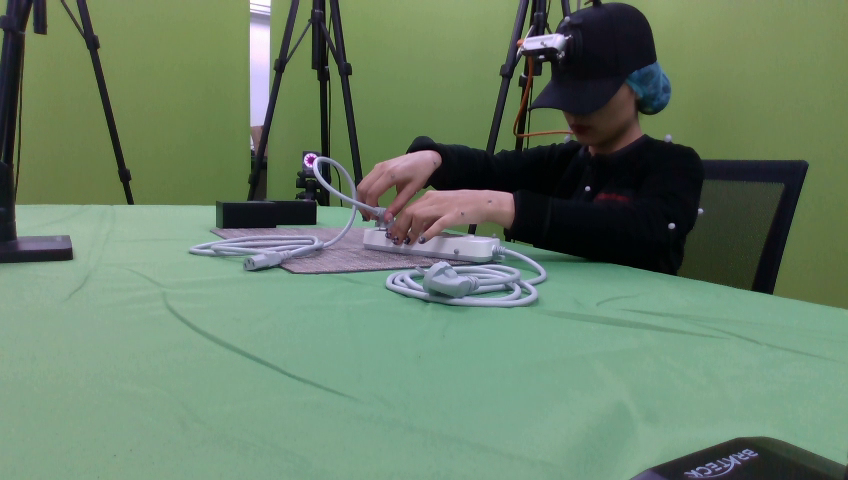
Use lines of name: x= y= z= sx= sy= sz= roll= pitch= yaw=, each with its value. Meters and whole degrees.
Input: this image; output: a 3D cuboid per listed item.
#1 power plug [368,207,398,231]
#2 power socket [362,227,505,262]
power plug: x=-0.070 y=-0.023 z=0.917 sx=0.035 sy=0.052 sz=0.073 roll=5 pitch=5 yaw=40
power socket: x=0.009 y=0.004 z=0.910 sx=0.226 sy=0.032 sz=0.072 roll=7 pitch=9 yaw=28
